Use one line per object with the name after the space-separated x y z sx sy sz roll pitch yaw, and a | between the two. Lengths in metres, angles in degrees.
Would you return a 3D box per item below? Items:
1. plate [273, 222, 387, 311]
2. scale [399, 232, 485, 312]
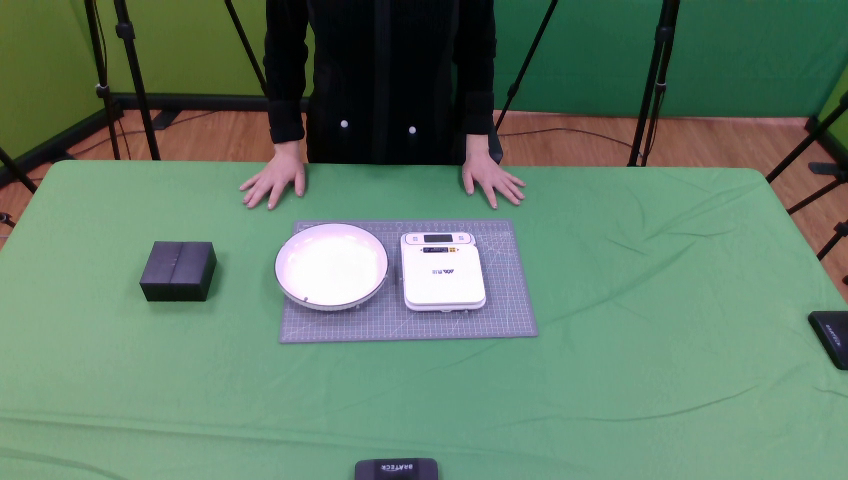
-0.172 0.051 1.120 0.209 0.038 0.208 2 46 -2 | plate
0.031 0.050 1.141 0.149 0.032 0.199 -1 46 -6 | scale
